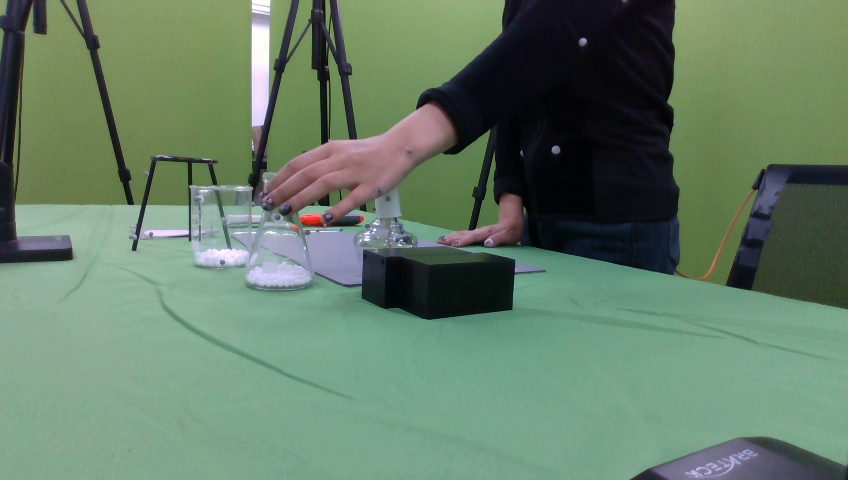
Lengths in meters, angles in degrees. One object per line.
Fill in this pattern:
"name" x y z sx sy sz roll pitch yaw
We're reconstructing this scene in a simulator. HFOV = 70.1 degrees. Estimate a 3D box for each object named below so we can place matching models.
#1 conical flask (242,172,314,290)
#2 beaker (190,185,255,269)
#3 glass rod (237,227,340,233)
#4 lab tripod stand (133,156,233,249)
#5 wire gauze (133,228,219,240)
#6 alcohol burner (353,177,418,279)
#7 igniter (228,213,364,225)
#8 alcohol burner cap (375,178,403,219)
"conical flask" -0.154 -0.011 0.643 0.075 0.122 0.075 2 8 0
"beaker" -0.253 -0.018 0.754 0.083 0.100 0.074 6 8 32
"glass rod" -0.247 -0.019 1.124 0.201 0.008 0.008 -3 8 -34
"lab tripod stand" -0.342 -0.054 0.878 0.148 0.131 0.148 4 6 0
"wire gauze" -0.421 -0.014 1.024 0.122 0.011 0.124 -2 7 -34
"alcohol burner" -0.044 -0.014 0.710 0.078 0.119 0.078 4 9 0
"igniter" -0.252 -0.042 1.227 0.278 0.025 0.057 -2 -2 -32
"alcohol burner cap" -0.043 -0.049 0.704 0.034 0.048 0.034 -7 9 2
